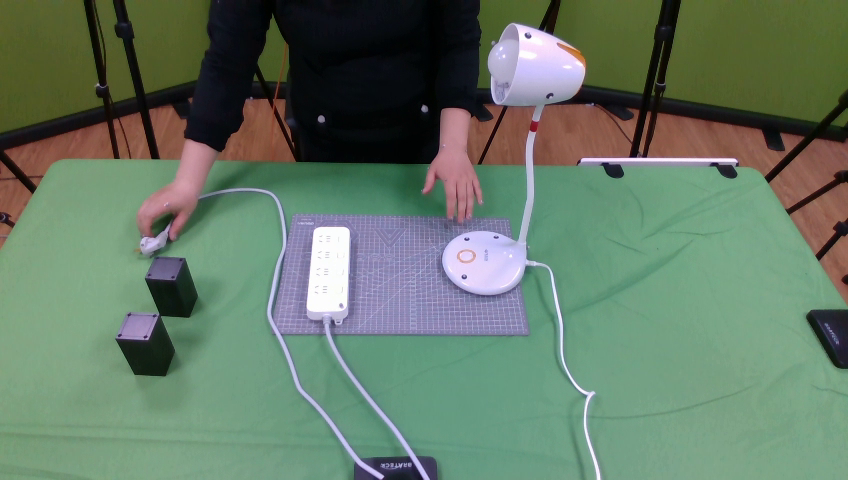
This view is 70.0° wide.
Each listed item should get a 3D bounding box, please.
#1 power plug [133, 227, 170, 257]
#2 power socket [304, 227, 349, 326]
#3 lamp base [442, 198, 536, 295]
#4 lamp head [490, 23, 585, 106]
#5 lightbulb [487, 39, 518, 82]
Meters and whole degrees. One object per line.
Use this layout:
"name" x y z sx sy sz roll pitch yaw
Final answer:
"power plug" -0.515 0.006 1.152 0.052 0.035 0.072 -5 24 6
"power socket" -0.177 0.059 1.115 0.072 0.033 0.225 -1 46 -4
"lamp base" 0.130 -0.012 1.104 0.179 0.181 0.159 -1 46 -9
"lamp head" 0.165 -0.241 0.872 0.123 0.113 0.111 9 43 -17
"lightbulb" 0.143 -0.252 0.865 0.108 0.060 0.059 9 45 -7
